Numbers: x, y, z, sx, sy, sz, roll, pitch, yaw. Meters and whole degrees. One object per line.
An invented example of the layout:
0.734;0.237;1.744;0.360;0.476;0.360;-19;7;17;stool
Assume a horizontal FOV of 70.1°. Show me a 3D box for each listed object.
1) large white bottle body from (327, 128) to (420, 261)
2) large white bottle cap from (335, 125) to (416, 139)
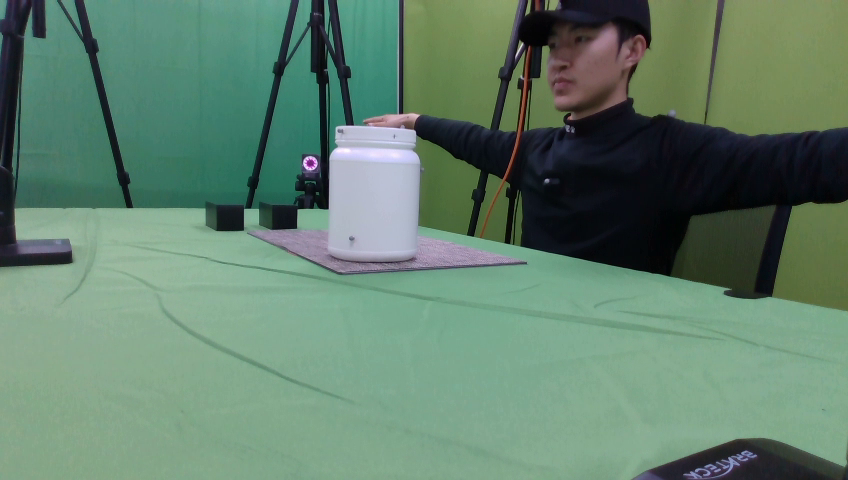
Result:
-0.072;-0.069;0.870;0.131;0.184;0.130;2;8;0;large white bottle body
-0.069;-0.151;0.859;0.115;0.018;0.115;2;8;0;large white bottle cap
